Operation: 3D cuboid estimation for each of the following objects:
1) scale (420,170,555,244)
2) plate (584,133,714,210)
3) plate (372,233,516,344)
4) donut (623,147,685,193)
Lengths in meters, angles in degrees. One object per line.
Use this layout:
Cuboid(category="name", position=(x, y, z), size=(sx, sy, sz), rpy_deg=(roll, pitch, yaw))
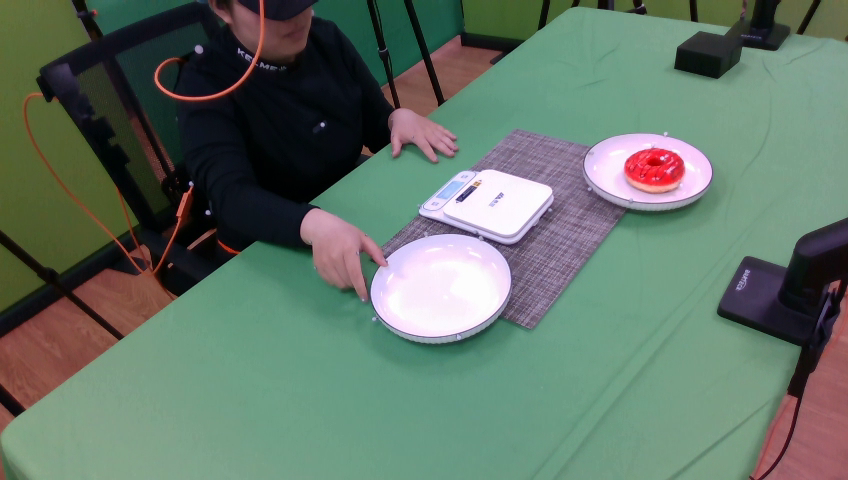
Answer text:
Cuboid(category="scale", position=(0.106, -0.065, 1.029), size=(0.199, 0.032, 0.149), rpy_deg=(21, 48, 32))
Cuboid(category="plate", position=(0.379, -0.113, 1.030), size=(0.209, 0.038, 0.208), rpy_deg=(-4, 41, 4))
Cuboid(category="plate", position=(0.030, 0.072, 0.879), size=(0.207, 0.039, 0.206), rpy_deg=(-6, 42, 6))
Cuboid(category="donut", position=(0.388, -0.119, 1.019), size=(0.099, 0.048, 0.098), rpy_deg=(-4, 42, 4))
